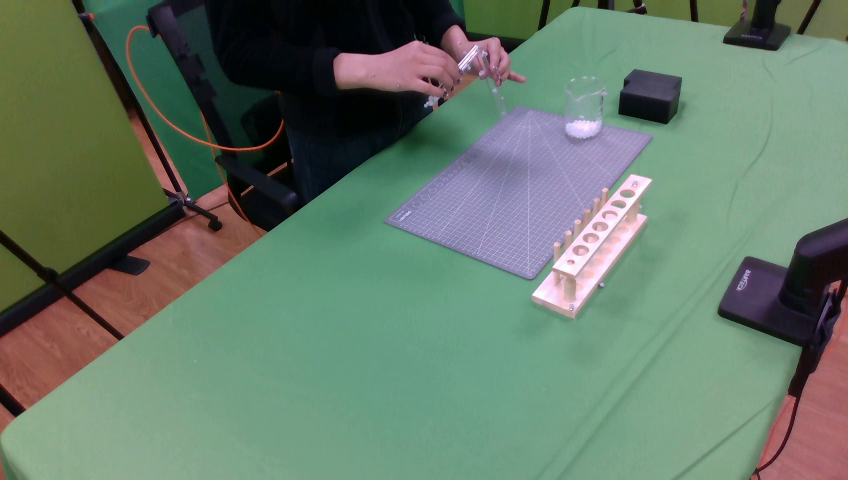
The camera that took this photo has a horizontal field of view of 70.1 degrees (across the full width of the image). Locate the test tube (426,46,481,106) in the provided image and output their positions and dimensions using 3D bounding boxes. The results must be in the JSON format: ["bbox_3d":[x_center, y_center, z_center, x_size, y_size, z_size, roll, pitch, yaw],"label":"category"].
[{"bbox_3d":[0.048,-0.268,0.986,0.017,0.017,0.150,22,61,32],"label":"test tube"}]

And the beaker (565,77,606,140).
[{"bbox_3d":[0.304,-0.247,1.153,0.073,0.101,0.084,15,47,27],"label":"beaker"}]

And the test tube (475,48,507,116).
[{"bbox_3d":[0.122,-0.277,1.077,0.017,0.151,0.017,-14,49,18],"label":"test tube"}]

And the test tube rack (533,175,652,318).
[{"bbox_3d":[0.250,-0.001,0.889,0.066,0.085,0.243,22,49,33],"label":"test tube rack"}]
